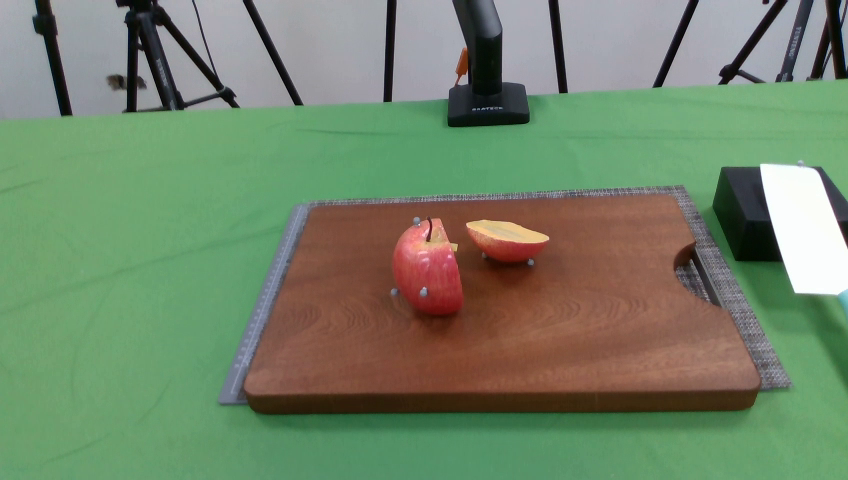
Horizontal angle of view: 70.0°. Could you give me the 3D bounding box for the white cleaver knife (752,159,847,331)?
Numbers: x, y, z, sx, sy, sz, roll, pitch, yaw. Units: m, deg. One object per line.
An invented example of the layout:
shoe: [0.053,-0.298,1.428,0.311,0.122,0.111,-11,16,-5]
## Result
white cleaver knife: [0.346,0.027,0.529,0.066,0.022,0.284,-1,48,11]

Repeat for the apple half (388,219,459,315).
apple half: [-0.003,0.027,0.528,0.053,0.075,0.080,-15,41,-5]

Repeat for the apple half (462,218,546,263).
apple half: [0.071,0.005,0.575,0.081,0.033,0.081,8,17,-2]
